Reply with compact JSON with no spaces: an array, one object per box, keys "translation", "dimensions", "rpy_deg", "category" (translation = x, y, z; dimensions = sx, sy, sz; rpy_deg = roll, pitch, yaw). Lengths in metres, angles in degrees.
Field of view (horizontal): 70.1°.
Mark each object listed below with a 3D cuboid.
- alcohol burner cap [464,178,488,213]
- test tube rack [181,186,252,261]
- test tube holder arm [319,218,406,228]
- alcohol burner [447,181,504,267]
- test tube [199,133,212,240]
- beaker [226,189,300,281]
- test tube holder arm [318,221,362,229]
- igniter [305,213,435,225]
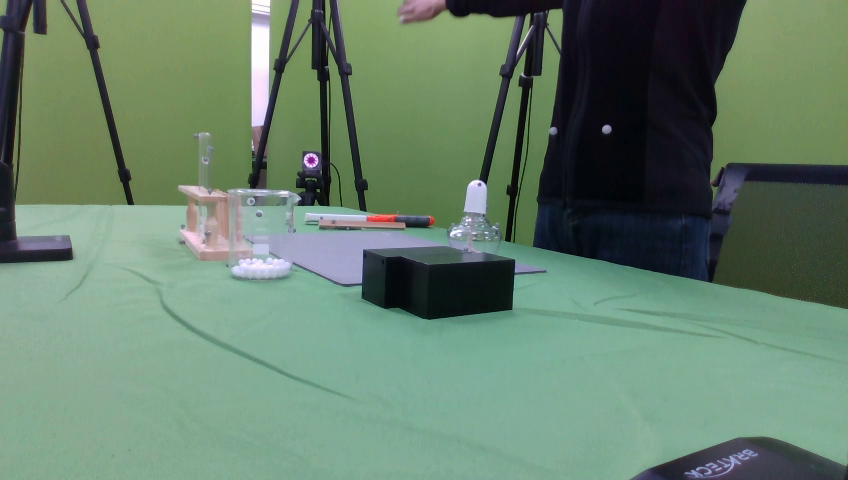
[{"translation":[0.073,-0.060,0.824],"dimensions":[0.034,0.048,0.034],"rpy_deg":[6,3,0],"category":"alcohol burner cap"},{"translation":[-0.312,-0.031,0.893],"dimensions":[0.067,0.085,0.241],"rpy_deg":[-1,8,-27],"category":"test tube rack"},{"translation":[-0.122,-0.032,1.214],"dimensions":[0.179,0.015,0.013],"rpy_deg":[1,-23,-21],"category":"test tube holder arm"},{"translation":[0.070,-0.024,0.828],"dimensions":[0.078,0.119,0.078],"rpy_deg":[0,6,0],"category":"alcohol burner"},{"translation":[-0.306,-0.075,0.846],"dimensions":[0.017,0.150,0.017],"rpy_deg":[0,0,0],"category":"test tube"},{"translation":[-0.184,-0.007,0.694],"dimensions":[0.084,0.100,0.073],"rpy_deg":[-1,8,-29],"category":"beaker"},{"translation":[-0.166,-0.031,1.203],"dimensions":[0.088,0.015,0.010],"rpy_deg":[0,-23,-20],"category":"test tube holder arm"},{"translation":[-0.113,-0.046,1.299],"dimensions":[0.277,0.025,0.057],"rpy_deg":[1,-3,-12],"category":"igniter"}]
